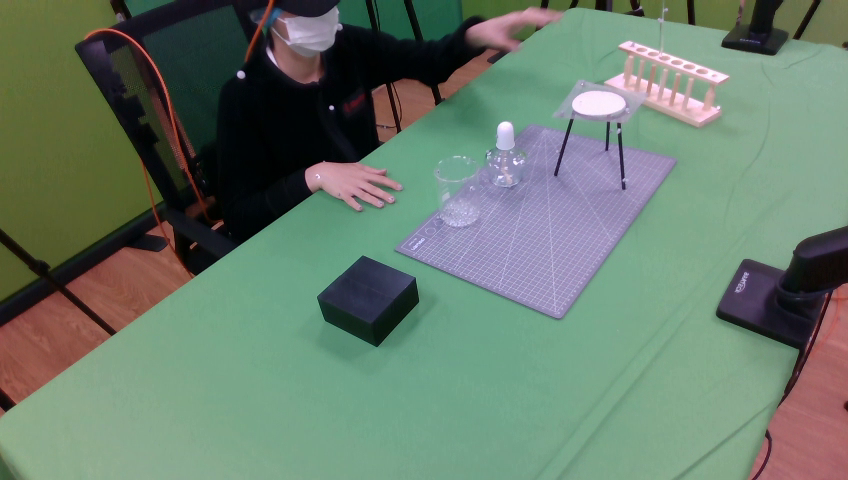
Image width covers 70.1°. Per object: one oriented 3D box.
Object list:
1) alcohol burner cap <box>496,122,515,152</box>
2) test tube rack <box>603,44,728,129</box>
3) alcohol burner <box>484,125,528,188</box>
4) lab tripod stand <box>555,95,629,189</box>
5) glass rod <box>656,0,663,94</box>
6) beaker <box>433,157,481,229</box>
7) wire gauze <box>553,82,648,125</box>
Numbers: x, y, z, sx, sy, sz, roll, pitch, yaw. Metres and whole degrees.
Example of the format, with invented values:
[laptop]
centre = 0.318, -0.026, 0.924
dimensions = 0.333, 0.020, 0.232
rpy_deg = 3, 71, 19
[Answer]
[alcohol burner cap]
centre = 0.139, -0.179, 1.037
dimensions = 0.034, 0.048, 0.033
rpy_deg = -4, 44, 5
[test tube rack]
centre = 0.480, -0.316, 1.227
dimensions = 0.067, 0.085, 0.240
rpy_deg = -28, 44, -22
[alcohol burner]
centre = 0.144, -0.152, 1.059
dimensions = 0.078, 0.119, 0.077
rpy_deg = -3, 41, 3
[lab tripod stand]
centre = 0.300, -0.174, 1.045
dimensions = 0.148, 0.132, 0.147
rpy_deg = -5, 38, 5
[glass rod]
centre = 0.469, -0.383, 1.204
dimensions = 0.008, 0.201, 0.008
rpy_deg = -9, 39, 8
[beaker]
centre = 0.058, -0.077, 0.994
dimensions = 0.073, 0.101, 0.084
rpy_deg = 19, 46, 28
[wire gauze]
centre = 0.293, -0.225, 1.002
dimensions = 0.120, 0.011, 0.125
rpy_deg = 17, 45, 27
